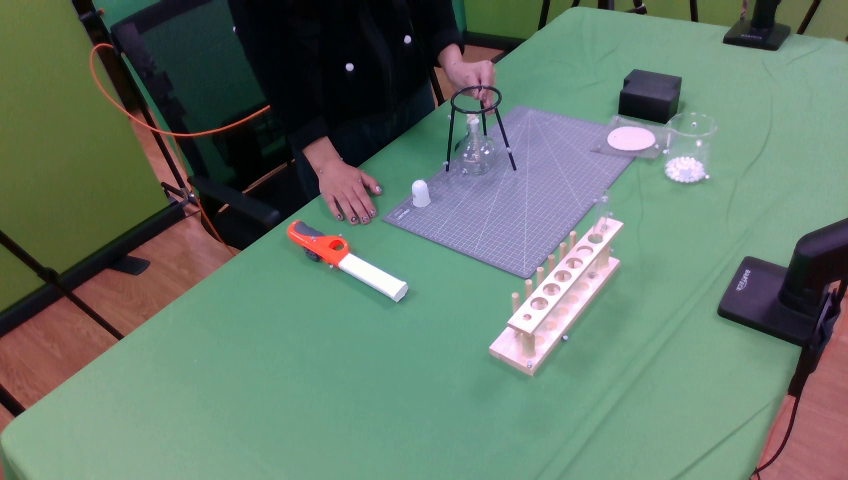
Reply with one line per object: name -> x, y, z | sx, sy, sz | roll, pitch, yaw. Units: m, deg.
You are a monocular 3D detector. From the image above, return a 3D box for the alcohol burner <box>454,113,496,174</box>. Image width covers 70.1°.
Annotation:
alcohol burner -> 0.092, -0.181, 1.102 | 0.078, 0.119, 0.077 | -5, 42, 5

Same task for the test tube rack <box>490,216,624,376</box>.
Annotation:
test tube rack -> 0.184, 0.064, 0.822 | 0.066, 0.085, 0.243 | 24, 50, 33

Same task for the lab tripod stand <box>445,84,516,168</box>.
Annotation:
lab tripod stand -> 0.102, -0.201, 1.087 | 0.148, 0.132, 0.147 | -5, 42, 5

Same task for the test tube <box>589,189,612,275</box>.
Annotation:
test tube -> 0.238, -0.007, 0.818 | 0.017, 0.151, 0.017 | -3, 43, 4

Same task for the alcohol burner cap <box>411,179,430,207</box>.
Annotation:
alcohol burner cap -> -0.008, -0.085, 1.063 | 0.034, 0.048, 0.033 | -4, 40, 4

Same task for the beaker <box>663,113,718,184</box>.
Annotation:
beaker -> 0.442, -0.151, 1.018 | 0.084, 0.101, 0.074 | -1, 40, 11

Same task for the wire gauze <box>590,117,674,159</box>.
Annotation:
wire gauze -> 0.393, -0.192, 1.139 | 0.120, 0.011, 0.125 | 19, 47, 28

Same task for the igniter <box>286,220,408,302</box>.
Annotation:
igniter -> -0.134, 0.028, 0.969 | 0.274, 0.025, 0.057 | 26, 61, 35
